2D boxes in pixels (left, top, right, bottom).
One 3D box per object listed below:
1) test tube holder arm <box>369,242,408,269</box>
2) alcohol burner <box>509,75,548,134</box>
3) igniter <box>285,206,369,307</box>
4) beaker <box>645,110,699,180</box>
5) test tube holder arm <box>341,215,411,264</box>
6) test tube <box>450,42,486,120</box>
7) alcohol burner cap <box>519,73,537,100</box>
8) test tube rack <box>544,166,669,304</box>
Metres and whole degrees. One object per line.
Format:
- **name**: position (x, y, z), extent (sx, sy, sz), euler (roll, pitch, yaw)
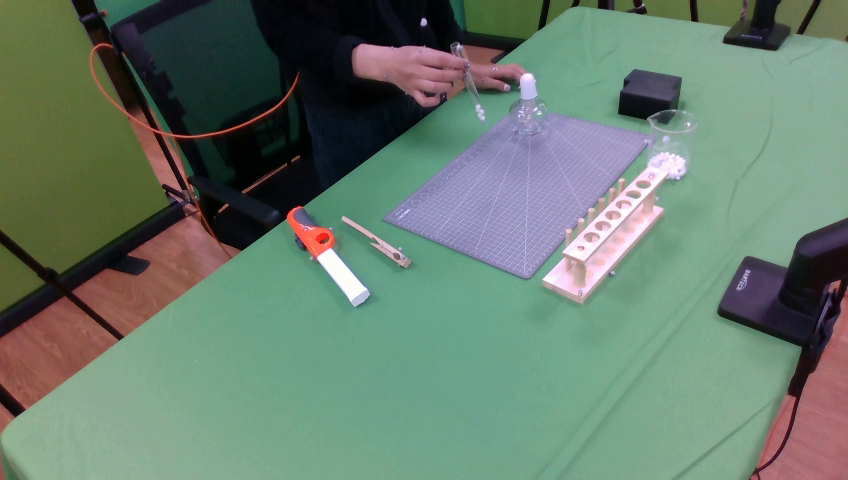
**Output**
- **test tube holder arm**: position (-0.057, 0.021, 0.971), extent (0.087, 0.015, 0.010), euler (34, 87, 40)
- **alcohol burner**: position (0.204, -0.270, 1.186), extent (0.078, 0.119, 0.077), euler (-5, 42, 5)
- **igniter**: position (-0.166, 0.018, 0.986), extent (0.057, 0.025, 0.274), euler (-34, 45, -12)
- **beaker**: position (0.417, -0.160, 1.033), extent (0.083, 0.101, 0.074), euler (25, 51, 34)
- **test tube holder arm**: position (-0.083, -0.002, 1.000), extent (0.177, 0.015, 0.013), euler (33, 86, 40)
- **test tube**: position (0.075, -0.259, 0.999), extent (0.017, 0.151, 0.017), euler (-15, 43, 15)
- **alcohol burner cap**: position (0.198, -0.298, 1.163), extent (0.034, 0.048, 0.033), euler (-9, 37, 8)
- **test tube rack**: position (0.274, -0.018, 0.903), extent (0.066, 0.085, 0.243), euler (26, 51, 35)
